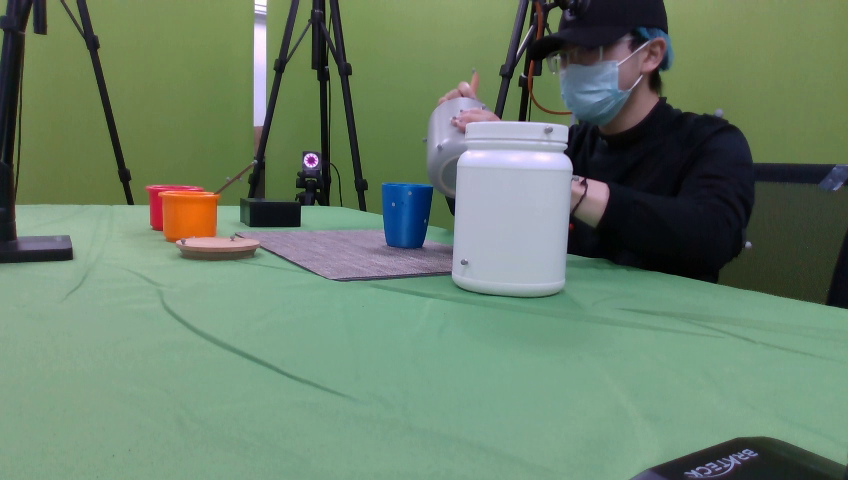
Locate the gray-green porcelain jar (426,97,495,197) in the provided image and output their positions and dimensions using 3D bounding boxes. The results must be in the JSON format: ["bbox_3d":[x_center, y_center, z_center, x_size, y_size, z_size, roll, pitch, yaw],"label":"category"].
[{"bbox_3d":[0.056,-0.131,0.875,0.106,0.106,0.126,2,42,-1],"label":"gray-green porcelain jar"}]

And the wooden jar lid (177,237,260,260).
[{"bbox_3d":[-0.283,0.011,0.834,0.108,0.020,0.108,1,8,0],"label":"wooden jar lid"}]

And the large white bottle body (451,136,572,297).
[{"bbox_3d":[0.099,-0.037,0.688,0.131,0.184,0.130,2,7,0],"label":"large white bottle body"}]

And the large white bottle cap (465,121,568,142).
[{"bbox_3d":[0.103,-0.121,0.677,0.115,0.018,0.115,3,7,0],"label":"large white bottle cap"}]

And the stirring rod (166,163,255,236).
[{"bbox_3d":[-0.341,-0.066,0.967,0.176,0.006,0.014,-42,23,-9],"label":"stirring rod"}]

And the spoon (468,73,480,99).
[{"bbox_3d":[0.062,-0.195,0.956,0.042,0.193,0.021,36,-30,-25],"label":"spoon"}]

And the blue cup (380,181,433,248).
[{"bbox_3d":[-0.030,-0.042,0.979,0.093,0.100,0.092,3,9,0],"label":"blue cup"}]
